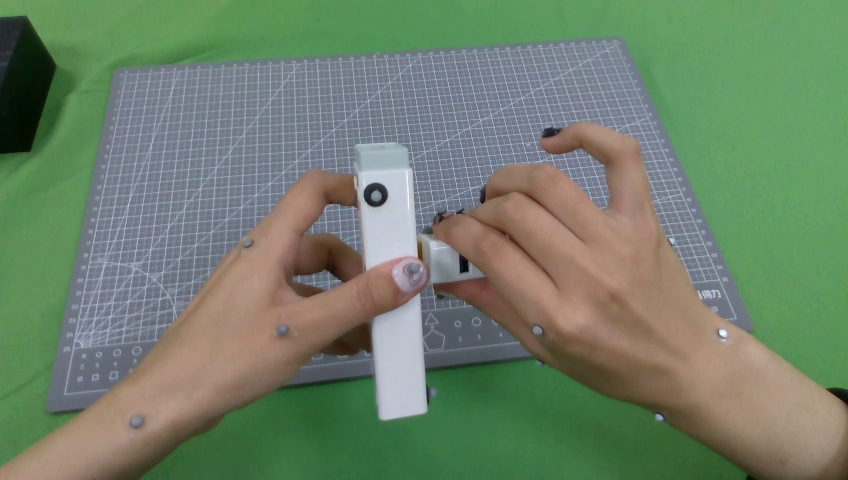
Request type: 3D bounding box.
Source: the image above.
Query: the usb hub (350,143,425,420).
[{"bbox_3d":[-0.018,0.019,0.290,0.025,0.125,0.049,-6,15,-7],"label":"usb hub"}]

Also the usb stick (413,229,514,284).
[{"bbox_3d":[0.012,0.008,0.298,0.059,0.021,0.027,3,16,-13],"label":"usb stick"}]
